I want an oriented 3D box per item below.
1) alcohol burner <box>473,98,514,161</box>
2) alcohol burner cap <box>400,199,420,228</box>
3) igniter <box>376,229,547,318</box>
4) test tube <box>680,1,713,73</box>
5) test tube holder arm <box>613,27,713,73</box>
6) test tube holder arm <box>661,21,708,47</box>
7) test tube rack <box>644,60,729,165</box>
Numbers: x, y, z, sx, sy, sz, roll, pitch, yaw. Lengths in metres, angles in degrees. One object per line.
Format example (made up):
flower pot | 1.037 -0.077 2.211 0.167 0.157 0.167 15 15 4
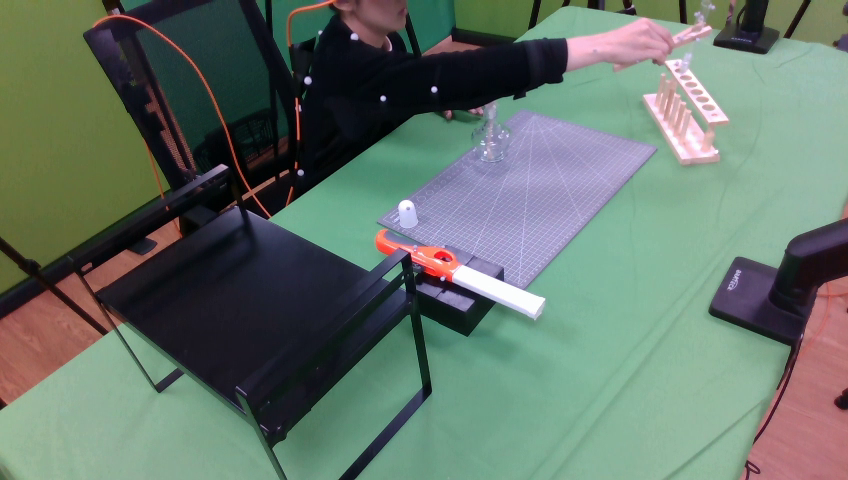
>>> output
alcohol burner | 0.127 -0.208 1.123 0.078 0.119 0.077 -5 39 5
alcohol burner cap | -0.025 -0.047 1.014 0.034 0.048 0.033 -4 42 4
igniter | 0.040 0.041 0.845 0.274 0.025 0.057 22 46 27
test tube | 0.471 -0.348 1.050 0.017 0.151 0.017 -3 59 5
test tube holder arm | 0.408 -0.326 1.034 0.178 0.015 0.013 -23 61 0
test tube holder arm | 0.446 -0.349 1.037 0.088 0.015 0.010 -30 61 -4
test tube rack | 0.486 -0.246 1.139 0.067 0.085 0.241 -5 41 4
